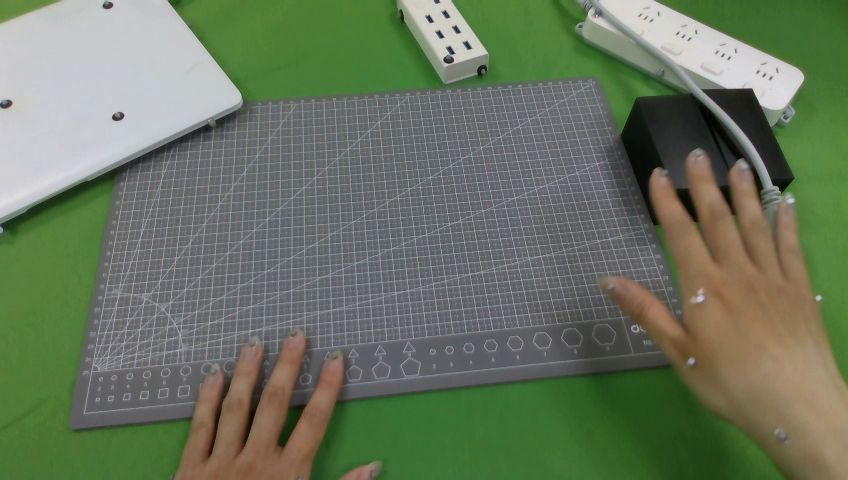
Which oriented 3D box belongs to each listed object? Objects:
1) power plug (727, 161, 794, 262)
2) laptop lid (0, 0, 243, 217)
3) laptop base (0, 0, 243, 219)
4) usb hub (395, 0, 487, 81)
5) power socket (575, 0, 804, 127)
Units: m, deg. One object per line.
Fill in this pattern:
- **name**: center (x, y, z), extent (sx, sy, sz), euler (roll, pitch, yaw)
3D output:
- **power plug**: center (0.265, -0.018, 0.482), extent (0.035, 0.053, 0.072), euler (19, 60, -23)
- **laptop lid**: center (-0.372, -0.123, 0.542), extent (0.357, 0.013, 0.239), euler (-30, 65, -18)
- **laptop base**: center (-0.373, -0.118, 0.553), extent (0.354, 0.023, 0.233), euler (-32, 67, -19)
- **usb hub**: center (0.015, -0.217, 0.617), extent (0.049, 0.025, 0.124), euler (-21, 61, -13)
- **power socket**: center (0.260, -0.186, 0.598), extent (0.225, 0.033, 0.072), euler (35, 64, 20)
